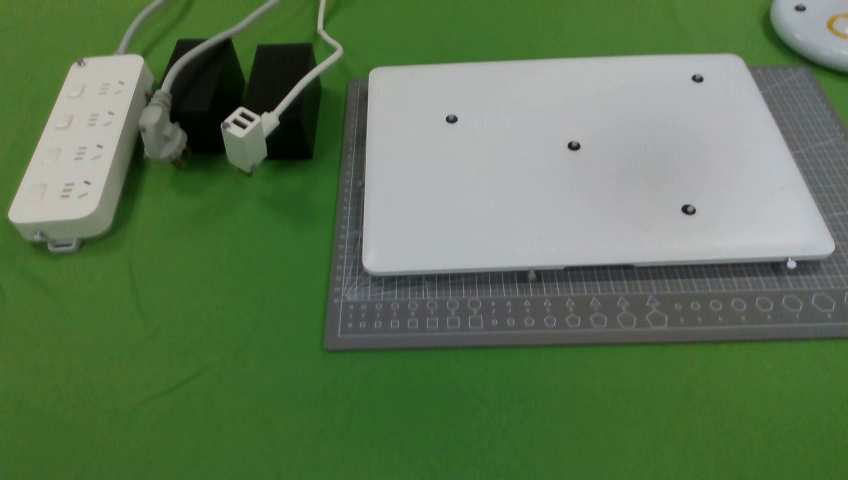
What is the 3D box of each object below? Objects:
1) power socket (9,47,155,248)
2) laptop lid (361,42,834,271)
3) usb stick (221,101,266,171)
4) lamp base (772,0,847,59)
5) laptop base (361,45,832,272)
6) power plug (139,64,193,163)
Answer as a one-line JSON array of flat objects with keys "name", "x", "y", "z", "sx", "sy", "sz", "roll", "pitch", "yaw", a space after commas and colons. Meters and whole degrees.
[{"name": "power socket", "x": -0.293, "y": -0.093, "z": 0.532, "sx": 0.072, "sy": 0.033, "sz": 0.224, "roll": -4, "pitch": 54, "yaw": -2}, {"name": "laptop lid", "x": 0.125, "y": -0.082, "z": 0.505, "sx": 0.357, "sy": 0.013, "sz": 0.239, "roll": -1, "pitch": 57, "yaw": 1}, {"name": "usb stick", "x": -0.141, "y": -0.079, "z": 0.478, "sx": 0.021, "sy": 0.059, "sz": 0.027, "roll": 28, "pitch": 58, "yaw": 8}, {"name": "lamp base", "x": 0.442, "y": -0.287, "z": 0.557, "sx": 0.159, "sy": 0.182, "sz": 0.179, "roll": 30, "pitch": 59, "yaw": 22}, {"name": "laptop base", "x": 0.126, "y": -0.077, "z": 0.516, "sx": 0.354, "sy": 0.023, "sz": 0.233, "roll": -2, "pitch": 58, "yaw": 0}, {"name": "power plug", "x": -0.207, "y": -0.102, "z": 0.508, "sx": 0.035, "sy": 0.053, "sz": 0.072, "roll": 20, "pitch": 73, "yaw": 22}]
